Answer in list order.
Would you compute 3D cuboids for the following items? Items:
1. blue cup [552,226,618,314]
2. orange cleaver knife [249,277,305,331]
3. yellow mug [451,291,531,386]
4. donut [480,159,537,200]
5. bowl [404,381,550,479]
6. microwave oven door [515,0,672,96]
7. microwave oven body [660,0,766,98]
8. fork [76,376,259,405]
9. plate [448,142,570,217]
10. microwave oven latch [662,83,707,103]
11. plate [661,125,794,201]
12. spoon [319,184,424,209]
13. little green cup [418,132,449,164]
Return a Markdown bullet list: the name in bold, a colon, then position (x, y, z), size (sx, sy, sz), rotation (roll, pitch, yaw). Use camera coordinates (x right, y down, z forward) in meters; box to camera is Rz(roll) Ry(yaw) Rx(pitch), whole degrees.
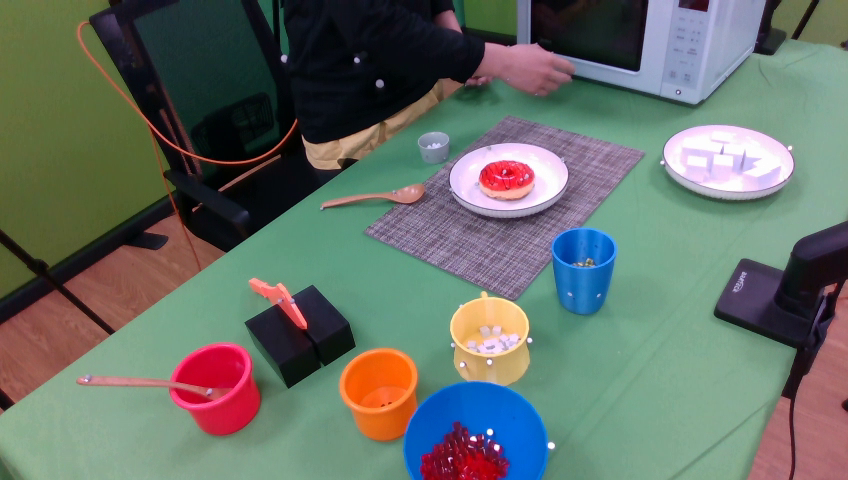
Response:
- **blue cup**: position (0.218, 0.047, 0.826), size (0.092, 0.101, 0.092), rotation (-6, 40, 5)
- **orange cleaver knife**: position (-0.210, 0.088, 0.856), size (0.012, 0.077, 0.210), rotation (-28, 15, -25)
- **yellow mug**: position (0.085, 0.120, 0.786), size (0.100, 0.064, 0.130), rotation (-7, 39, 1)
- **donut**: position (0.145, -0.106, 1.042), size (0.099, 0.048, 0.098), rotation (-4, 38, 4)
- **bowl**: position (0.058, 0.235, 0.645), size (0.151, 0.077, 0.150), rotation (-4, 39, 4)
- **microwave oven door**: position (0.344, -0.455, 1.259), size (0.353, 0.245, 0.039), rotation (26, 51, 33)
- **microwave oven body**: position (0.473, -0.513, 1.317), size (0.438, 0.261, 0.327), rotation (26, 51, 34)
- **fork**: position (-0.295, 0.176, 0.716), size (0.209, 0.018, 0.028), rotation (19, 27, -36)
- **plate**: position (0.148, -0.101, 1.053), size (0.209, 0.038, 0.208), rotation (-4, 40, 4)
- **microwave oven latch**: position (0.517, -0.296, 1.204), size (0.078, 0.029, 0.030), rotation (27, 52, 35)
- **plate**: position (0.513, -0.128, 1.035), size (0.207, 0.039, 0.206), rotation (-4, 40, 4)
- **spoon**: position (-0.094, -0.075, 1.074), size (0.193, 0.022, 0.041), rotation (-5, 57, 5)
- **little green cup**: position (0.019, -0.177, 1.168), size (0.061, 0.039, 0.061), rotation (-3, 41, 3)
